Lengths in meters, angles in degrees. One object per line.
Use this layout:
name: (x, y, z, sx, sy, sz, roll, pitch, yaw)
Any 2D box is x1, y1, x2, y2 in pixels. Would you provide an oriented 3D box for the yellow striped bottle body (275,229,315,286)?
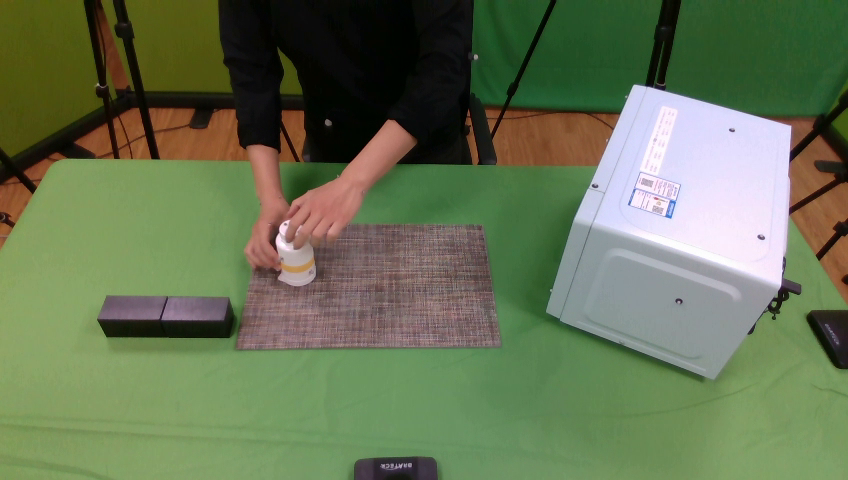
yellow striped bottle body: (-0.231, 0.022, 1.083, 0.063, 0.121, 0.062, 2, 46, -2)

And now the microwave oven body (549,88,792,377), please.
microwave oven body: (0.456, -0.028, 1.088, 0.325, 0.261, 0.440, 20, 47, 16)

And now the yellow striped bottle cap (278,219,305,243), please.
yellow striped bottle cap: (-0.229, -0.015, 1.044, 0.044, 0.019, 0.044, 3, 45, -3)

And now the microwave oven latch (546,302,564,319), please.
microwave oven latch: (0.242, 0.102, 1.081, 0.030, 0.029, 0.079, 22, 48, 17)

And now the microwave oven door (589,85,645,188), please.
microwave oven door: (0.341, -0.107, 1.148, 0.039, 0.245, 0.354, 20, 48, 15)
